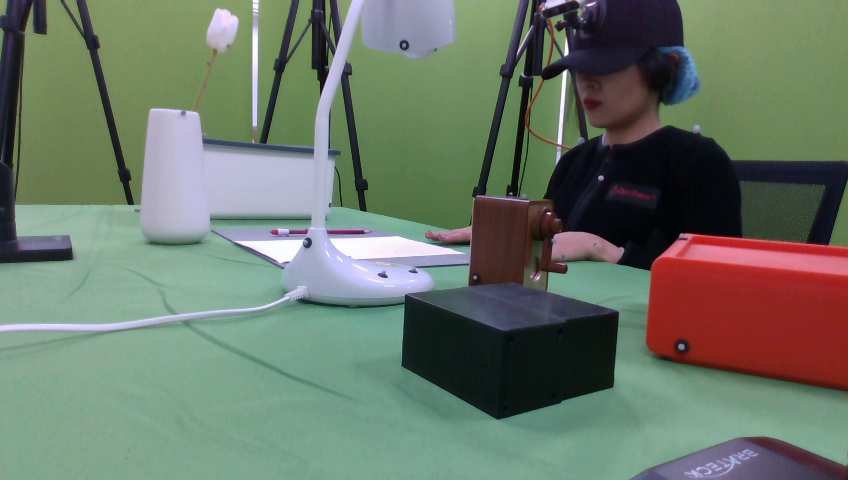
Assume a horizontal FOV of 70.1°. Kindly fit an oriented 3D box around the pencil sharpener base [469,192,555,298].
[{"bbox_3d":[0.097,0.003,0.652,0.076,0.107,0.061,8,9,38],"label":"pencil sharpener base"}]

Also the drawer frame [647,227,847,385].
[{"bbox_3d":[0.303,0.043,0.495,0.201,0.082,0.214,6,9,26],"label":"drawer frame"}]

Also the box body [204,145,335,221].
[{"bbox_3d":[-0.411,-0.135,1.386,0.366,0.160,0.253,-2,9,-29],"label":"box body"}]

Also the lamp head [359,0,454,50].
[{"bbox_3d":[-0.024,-0.282,0.674,0.112,0.123,0.112,-3,38,3],"label":"lamp head"}]

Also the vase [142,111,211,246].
[{"bbox_3d":[-0.378,-0.093,0.920,0.098,0.200,0.098,2,9,0],"label":"vase"}]

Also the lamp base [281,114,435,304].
[{"bbox_3d":[-0.071,-0.035,0.614,0.160,0.180,0.180,6,10,27],"label":"lamp base"}]

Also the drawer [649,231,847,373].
[{"bbox_3d":[0.302,0.044,0.499,0.194,0.073,0.212,7,9,27],"label":"drawer"}]

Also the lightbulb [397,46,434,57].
[{"bbox_3d":[-0.017,-0.264,0.692,0.059,0.108,0.059,-9,29,5],"label":"lightbulb"}]

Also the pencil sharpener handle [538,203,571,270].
[{"bbox_3d":[0.137,-0.003,0.619,0.030,0.067,0.036,8,6,38],"label":"pencil sharpener handle"}]

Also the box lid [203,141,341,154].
[{"bbox_3d":[-0.396,-0.212,1.373,0.373,0.015,0.262,-1,9,-29],"label":"box lid"}]

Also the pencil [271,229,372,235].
[{"bbox_3d":[-0.178,-0.014,1.081,0.195,0.012,0.012,0,8,-34],"label":"pencil"}]

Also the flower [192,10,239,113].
[{"bbox_3d":[-0.354,-0.174,0.916,0.038,0.361,0.044,18,-3,12],"label":"flower"}]
